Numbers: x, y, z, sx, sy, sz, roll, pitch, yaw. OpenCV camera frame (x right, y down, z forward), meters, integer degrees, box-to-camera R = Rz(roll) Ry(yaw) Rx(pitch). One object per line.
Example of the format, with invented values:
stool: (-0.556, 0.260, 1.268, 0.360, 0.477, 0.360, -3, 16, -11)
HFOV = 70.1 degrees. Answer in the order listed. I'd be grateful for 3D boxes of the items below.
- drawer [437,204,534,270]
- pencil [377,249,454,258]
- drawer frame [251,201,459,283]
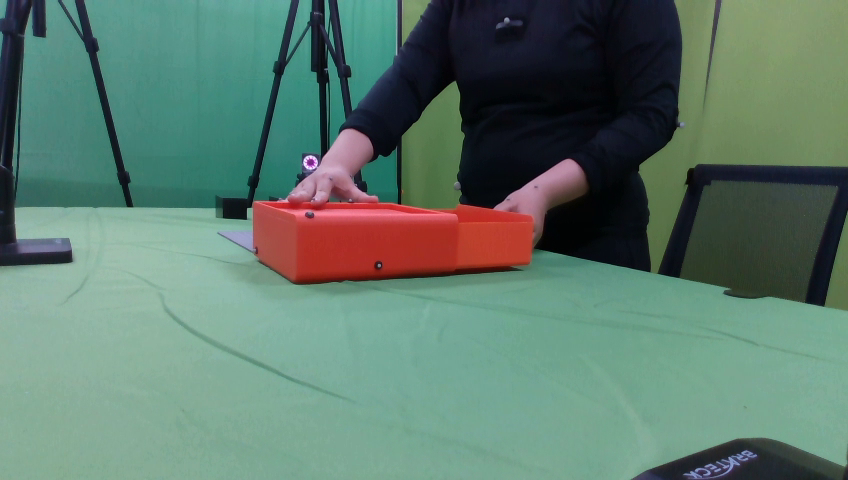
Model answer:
drawer: (0.012, -0.007, 0.851, 0.213, 0.073, 0.193, -3, 10, -30)
pencil: (-0.005, 0.019, 0.849, 0.012, 0.012, 0.195, 7, 3, 32)
drawer frame: (-0.095, -0.005, 0.789, 0.215, 0.082, 0.200, -2, 9, -30)
